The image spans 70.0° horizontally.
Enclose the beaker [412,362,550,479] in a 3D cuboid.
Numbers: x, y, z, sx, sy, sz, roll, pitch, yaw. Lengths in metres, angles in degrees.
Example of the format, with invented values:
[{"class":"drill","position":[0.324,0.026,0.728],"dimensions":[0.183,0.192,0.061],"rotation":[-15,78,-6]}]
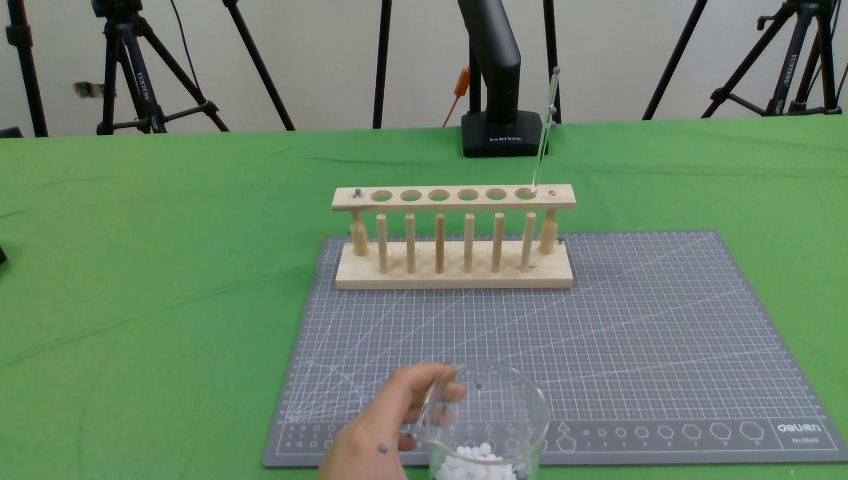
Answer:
[{"class":"beaker","position":[0.034,0.141,0.387],"dimensions":[0.084,0.101,0.073],"rotation":[-13,39,-15]}]

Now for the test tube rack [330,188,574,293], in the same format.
[{"class":"test tube rack","position":[0.028,0.001,0.623],"dimensions":[0.242,0.086,0.066],"rotation":[-1,37,2]}]

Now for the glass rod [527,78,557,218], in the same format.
[{"class":"glass rod","position":[0.110,-0.062,0.590],"dimensions":[0.008,0.201,0.008],"rotation":[2,38,-1]}]
